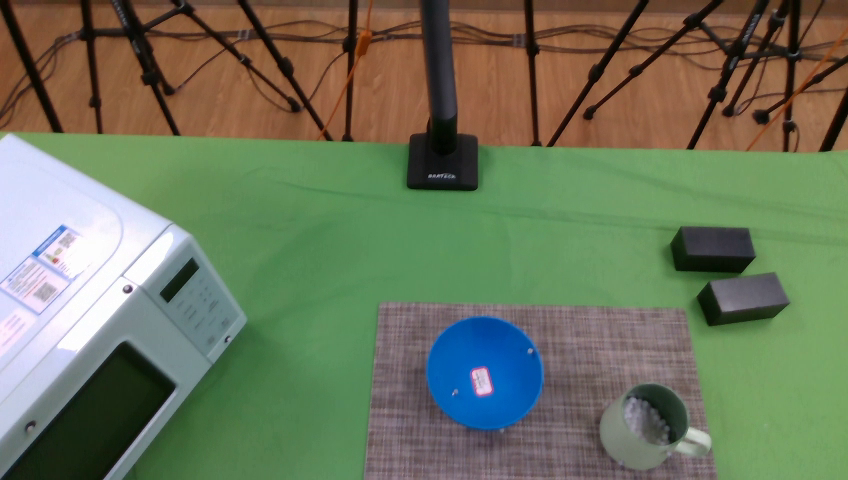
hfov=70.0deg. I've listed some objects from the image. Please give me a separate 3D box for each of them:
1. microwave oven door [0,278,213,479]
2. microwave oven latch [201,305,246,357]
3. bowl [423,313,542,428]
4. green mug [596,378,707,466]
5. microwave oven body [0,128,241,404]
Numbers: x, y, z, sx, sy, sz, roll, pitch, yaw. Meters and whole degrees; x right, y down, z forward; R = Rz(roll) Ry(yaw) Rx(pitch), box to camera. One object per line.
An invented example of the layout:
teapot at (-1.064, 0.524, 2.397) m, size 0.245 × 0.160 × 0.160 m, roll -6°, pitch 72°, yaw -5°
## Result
microwave oven door at (-0.398, 0.232, 0.664) m, size 0.039 × 0.246 × 0.354 m, roll 26°, pitch 63°, yaw 16°
microwave oven latch at (-0.283, 0.123, 0.847) m, size 0.030 × 0.030 × 0.079 m, roll 28°, pitch 64°, yaw 16°
bowl at (0.075, 0.181, 0.801) m, size 0.151 × 0.077 × 0.150 m, roll 0°, pitch 59°, yaw 1°
green mug at (0.284, 0.232, 0.752) m, size 0.125 × 0.106 × 0.092 m, roll 18°, pitch 60°, yaw 11°
microwave oven body at (-0.502, 0.142, 0.725) m, size 0.324 × 0.262 × 0.440 m, roll 27°, pitch 64°, yaw 15°
